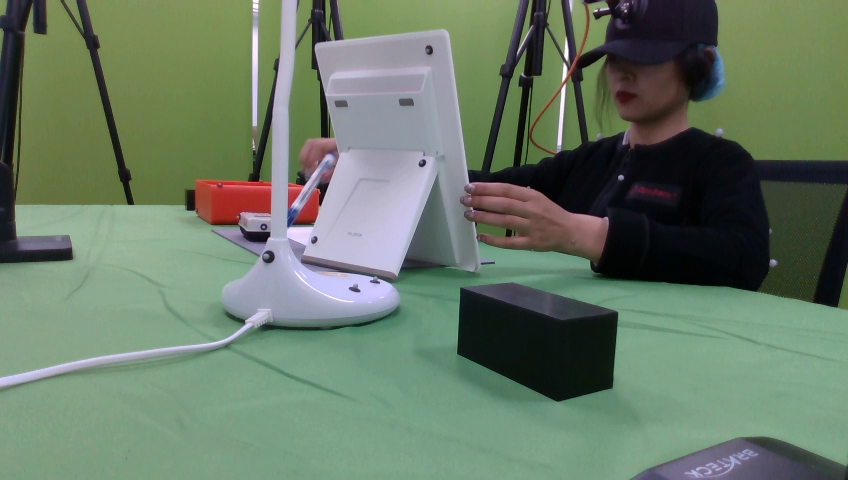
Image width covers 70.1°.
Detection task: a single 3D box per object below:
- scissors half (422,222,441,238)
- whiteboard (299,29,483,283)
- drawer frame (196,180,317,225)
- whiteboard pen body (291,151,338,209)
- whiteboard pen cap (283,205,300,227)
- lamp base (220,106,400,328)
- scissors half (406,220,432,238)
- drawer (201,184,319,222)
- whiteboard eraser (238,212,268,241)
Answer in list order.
[{"bbox_3d":[0.013,-0.018,1.217,0.040,0.013,0.175,14,9,1],"label":"scissors half"},{"bbox_3d":[-0.074,-0.082,0.742,0.216,0.305,0.144,9,29,38],"label":"whiteboard"},{"bbox_3d":[-0.359,-0.083,1.292,0.215,0.082,0.200,-2,10,-30],"label":"drawer frame"},{"bbox_3d":[-0.175,-0.084,0.932,0.017,0.141,0.017,25,-25,13],"label":"whiteboard pen body"},{"bbox_3d":[-0.201,-0.037,0.905,0.018,0.033,0.018,22,-26,11],"label":"whiteboard pen cap"},{"bbox_3d":[-0.101,-0.023,0.531,0.160,0.180,0.179,4,10,10],"label":"lamp base"},{"bbox_3d":[-0.006,-0.022,1.215,0.040,0.013,0.174,6,10,-15],"label":"scissors half"},{"bbox_3d":[-0.353,-0.082,1.296,0.213,0.073,0.193,-2,10,-28],"label":"drawer"},{"bbox_3d":[-0.272,-0.023,0.998,0.056,0.042,0.112,-2,9,-24],"label":"whiteboard eraser"}]
